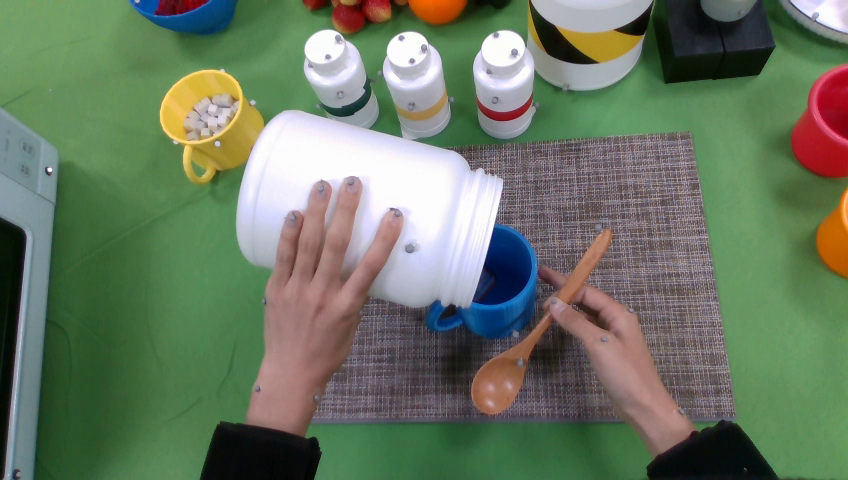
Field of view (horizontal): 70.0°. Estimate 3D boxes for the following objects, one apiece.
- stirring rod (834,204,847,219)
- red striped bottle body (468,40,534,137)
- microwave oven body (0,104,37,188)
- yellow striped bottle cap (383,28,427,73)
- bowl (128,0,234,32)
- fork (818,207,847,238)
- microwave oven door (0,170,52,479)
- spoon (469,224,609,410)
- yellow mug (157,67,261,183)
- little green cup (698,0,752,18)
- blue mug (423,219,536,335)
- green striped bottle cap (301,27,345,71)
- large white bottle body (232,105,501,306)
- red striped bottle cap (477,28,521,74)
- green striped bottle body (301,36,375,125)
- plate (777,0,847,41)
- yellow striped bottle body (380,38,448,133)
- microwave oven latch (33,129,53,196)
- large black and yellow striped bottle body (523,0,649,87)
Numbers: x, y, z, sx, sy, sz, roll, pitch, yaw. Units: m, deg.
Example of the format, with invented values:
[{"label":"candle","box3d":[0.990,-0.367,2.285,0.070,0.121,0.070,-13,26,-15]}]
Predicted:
[{"label":"stirring rod","box3d":[0.407,0.005,0.526,0.014,0.006,0.175,0,27,6]},{"label":"red striped bottle body","box3d":[0.083,-0.168,0.647,0.063,0.121,0.062,-5,65,12]},{"label":"microwave oven body","box3d":[-0.596,0.066,0.579,0.326,0.262,0.438,-11,69,4]},{"label":"yellow striped bottle cap","box3d":[-0.019,-0.192,0.615,0.044,0.019,0.044,-2,69,5]},{"label":"bowl","box3d":[-0.300,-0.326,0.784,0.151,0.077,0.150,-3,69,7]},{"label":"fork","box3d":[0.436,0.006,0.514,0.028,0.019,0.205,-39,25,-6]},{"label":"microwave oven door","box3d":[-0.447,0.075,0.549,0.039,0.246,0.353,-11,68,5]},{"label":"spoon","box3d":[0.102,0.068,0.525,0.041,0.021,0.194,34,104,2]},{"label":"yellow mug","box3d":[-0.255,-0.130,0.711,0.100,0.064,0.130,7,72,11]},{"label":"little green cup","box3d":[0.320,-0.267,0.638,0.061,0.039,0.061,-2,67,5]},{"label":"blue mug","box3d":[0.050,0.047,0.574,0.116,0.107,0.081,-33,67,-5]},{"label":"green striped bottle cap","box3d":[-0.105,-0.199,0.629,0.044,0.020,0.044,-2,69,6]},{"label":"large white bottle body","box3d":[-0.041,-0.022,0.485,0.184,0.131,0.130,16,72,1]},{"label":"red striped bottle cap","box3d":[0.074,-0.188,0.599,0.044,0.018,0.044,-2,68,4]},{"label":"green striped bottle body","box3d":[-0.097,-0.180,0.677,0.063,0.120,0.062,-2,69,7]},{"label":"plate","box3d":[0.491,-0.305,0.682,0.209,0.038,0.207,-3,70,7]},{"label":"yellow striped bottle body","box3d":[-0.011,-0.174,0.662,0.063,0.121,0.062,-3,68,8]},{"label":"microwave oven latch","box3d":[-0.465,-0.091,0.722,0.030,0.030,0.078,-10,69,4]},{"label":"large black and yellow striped bottle body","box3d":[0.170,-0.264,0.635,0.130,0.185,0.130,-3,69,8]}]
